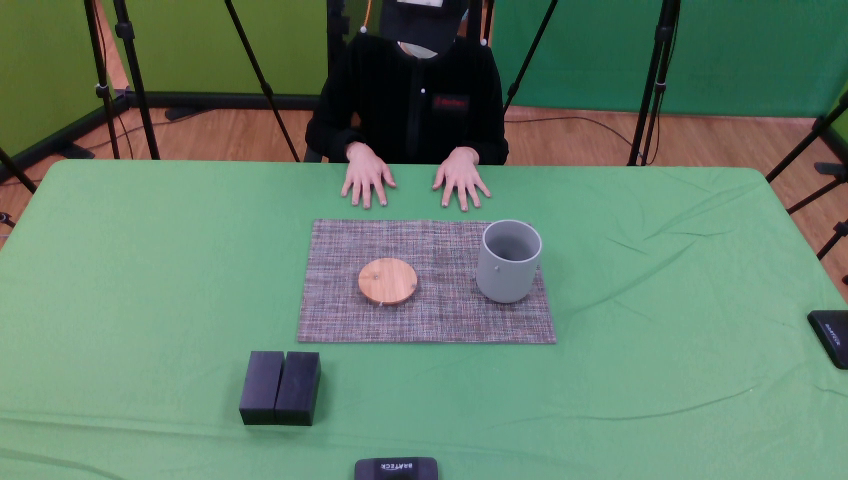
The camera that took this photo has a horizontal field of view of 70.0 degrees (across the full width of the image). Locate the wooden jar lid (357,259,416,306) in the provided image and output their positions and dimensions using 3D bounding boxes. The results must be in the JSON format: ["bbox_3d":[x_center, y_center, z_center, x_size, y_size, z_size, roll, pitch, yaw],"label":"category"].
[{"bbox_3d":[-0.069,0.079,1.113,0.108,0.021,0.107,3,47,-3],"label":"wooden jar lid"}]

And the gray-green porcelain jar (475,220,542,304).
[{"bbox_3d":[0.148,0.044,1.090,0.106,0.127,0.105,2,46,-2],"label":"gray-green porcelain jar"}]
